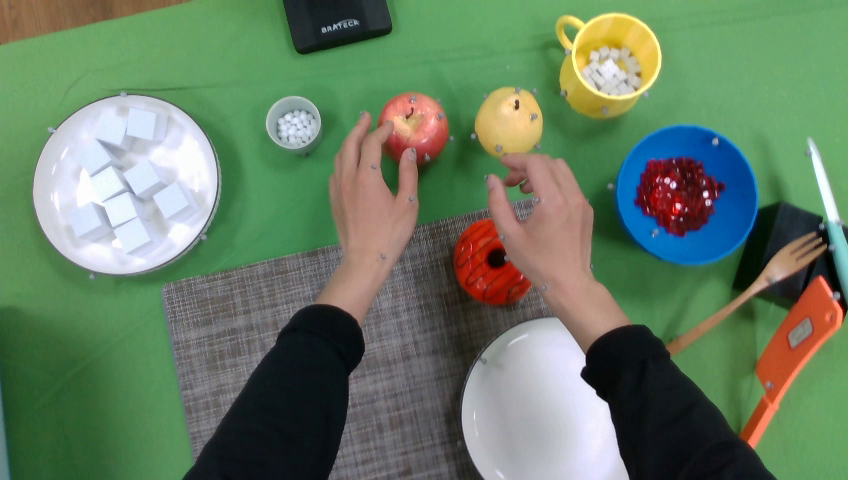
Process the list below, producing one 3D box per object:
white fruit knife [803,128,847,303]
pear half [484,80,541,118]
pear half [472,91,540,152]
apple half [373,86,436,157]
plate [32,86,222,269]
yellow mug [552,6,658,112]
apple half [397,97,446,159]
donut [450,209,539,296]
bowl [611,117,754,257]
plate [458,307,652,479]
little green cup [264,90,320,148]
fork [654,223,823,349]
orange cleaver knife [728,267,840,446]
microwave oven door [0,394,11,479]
[{"bbox_3d":[0.442,-0.024,0.657,0.027,0.016,0.206,-7,81,-31],"label":"white fruit knife"},{"bbox_3d":[0.102,-0.162,0.680,0.070,0.088,0.031,17,84,6],"label":"pear half"},{"bbox_3d":[0.088,-0.130,0.666,0.076,0.110,0.056,18,82,6],"label":"pear half"},{"bbox_3d":[-0.028,-0.139,0.684,0.053,0.075,0.081,36,87,7],"label":"apple half"},{"bbox_3d":[-0.331,-0.069,0.689,0.208,0.039,0.207,0,84,-1],"label":"plate"},{"bbox_3d":[0.197,-0.217,0.699,0.130,0.064,0.100,44,85,5],"label":"yellow mug"},{"bbox_3d":[0.004,-0.118,0.681,0.032,0.081,0.081,36,84,7],"label":"apple half"},{"bbox_3d":[0.078,0.013,0.679,0.099,0.048,0.099,0,84,1],"label":"donut"},{"bbox_3d":[0.274,-0.053,0.676,0.151,0.077,0.151,0,84,-1],"label":"bowl"},{"bbox_3d":[0.141,0.178,0.664,0.209,0.038,0.208,0,83,0],"label":"plate"},{"bbox_3d":[-0.150,-0.137,0.699,0.061,0.039,0.061,0,83,0],"label":"little green cup"},{"bbox_3d":[0.336,0.055,0.660,0.207,0.018,0.028,-43,92,15],"label":"fork"},{"bbox_3d":[0.380,0.128,0.656,0.012,0.077,0.212,18,113,0],"label":"orange cleaver knife"},{"bbox_3d":[-0.446,0.295,0.526,0.039,0.244,0.354,-11,83,-2],"label":"microwave oven door"}]
